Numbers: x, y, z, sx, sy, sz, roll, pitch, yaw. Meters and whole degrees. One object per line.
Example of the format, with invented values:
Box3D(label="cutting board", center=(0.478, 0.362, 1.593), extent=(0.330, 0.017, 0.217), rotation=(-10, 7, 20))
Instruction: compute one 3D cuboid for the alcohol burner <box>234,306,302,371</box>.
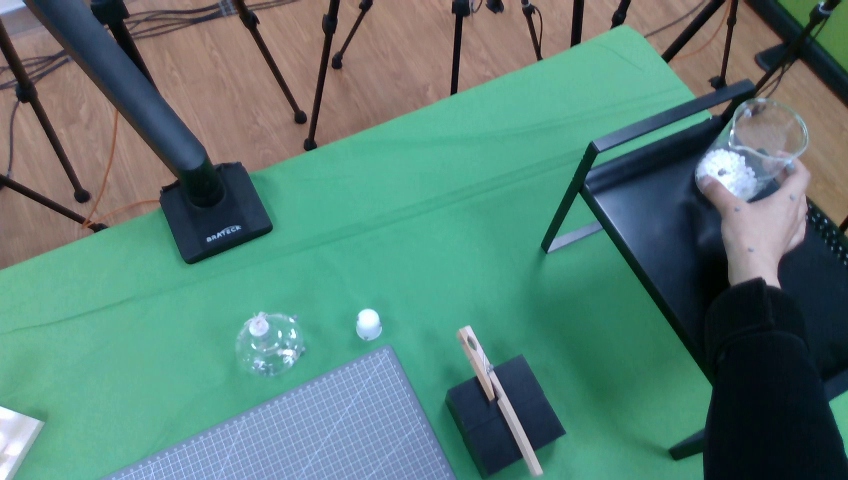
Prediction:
Box3D(label="alcohol burner", center=(-0.182, 0.108, 0.697), extent=(0.078, 0.120, 0.077), rotation=(2, 62, -3))

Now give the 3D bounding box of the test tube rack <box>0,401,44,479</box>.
Box3D(label="test tube rack", center=(-0.503, 0.278, 0.611), extent=(0.066, 0.086, 0.241), rotation=(17, 65, 6))

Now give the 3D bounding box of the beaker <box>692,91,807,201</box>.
Box3D(label="beaker", center=(0.330, -0.091, 0.631), extent=(0.084, 0.101, 0.073), rotation=(-21, 67, -11))

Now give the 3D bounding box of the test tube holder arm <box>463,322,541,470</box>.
Box3D(label="test tube holder arm", center=(0.084, 0.173, 0.681), extent=(0.013, 0.015, 0.177), rotation=(-19, 67, -23))

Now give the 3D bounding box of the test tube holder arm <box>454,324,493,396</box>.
Box3D(label="test tube holder arm", center=(0.059, 0.137, 0.695), extent=(0.010, 0.015, 0.087), rotation=(-19, 67, -23))

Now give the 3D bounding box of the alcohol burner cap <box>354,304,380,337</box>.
Box3D(label="alcohol burner cap", center=(-0.071, 0.097, 0.748), extent=(0.034, 0.048, 0.033), rotation=(2, 63, -3))
